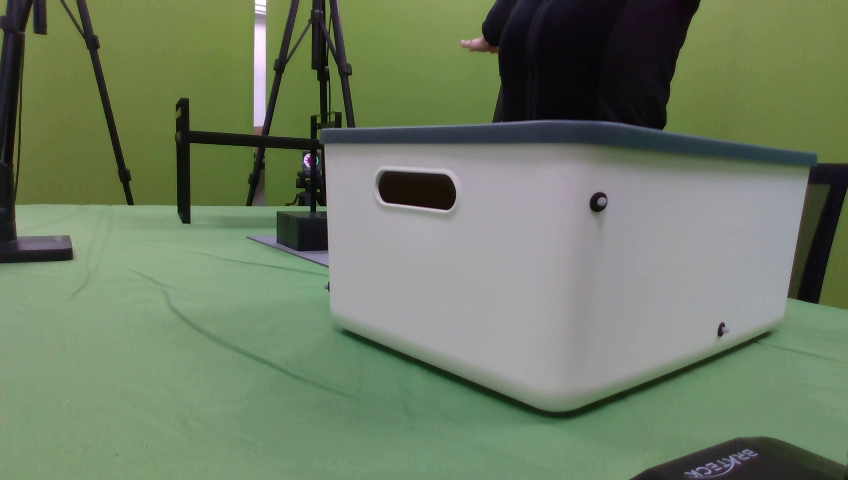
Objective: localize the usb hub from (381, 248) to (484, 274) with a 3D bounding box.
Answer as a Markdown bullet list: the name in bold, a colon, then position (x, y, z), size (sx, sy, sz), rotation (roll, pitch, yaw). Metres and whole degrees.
- **usb hub**: position (0.011, 0.026, 0.774), size (0.126, 0.025, 0.049), rotation (0, 7, -26)

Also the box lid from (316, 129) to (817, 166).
- **box lid**: position (0.128, -0.074, 0.501), size (0.374, 0.015, 0.262), rotation (-5, 11, -41)

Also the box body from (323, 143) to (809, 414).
- **box body**: position (0.124, 0.000, 0.510), size (0.366, 0.160, 0.253), rotation (-4, 10, -42)
